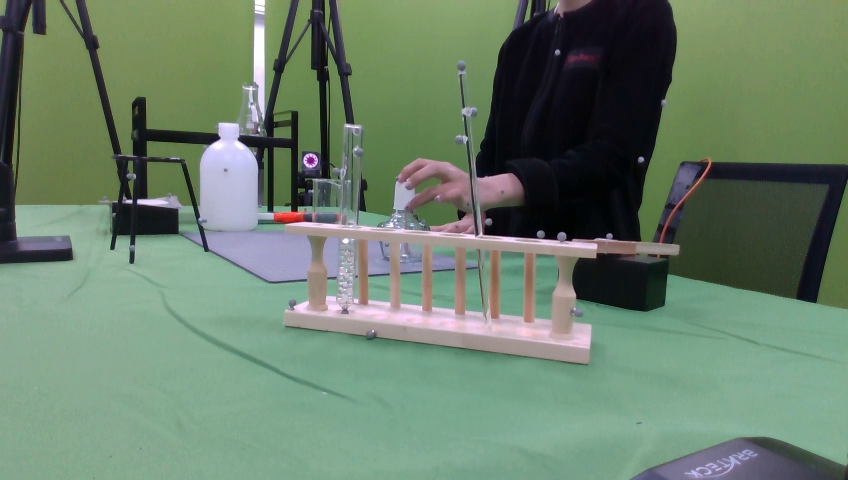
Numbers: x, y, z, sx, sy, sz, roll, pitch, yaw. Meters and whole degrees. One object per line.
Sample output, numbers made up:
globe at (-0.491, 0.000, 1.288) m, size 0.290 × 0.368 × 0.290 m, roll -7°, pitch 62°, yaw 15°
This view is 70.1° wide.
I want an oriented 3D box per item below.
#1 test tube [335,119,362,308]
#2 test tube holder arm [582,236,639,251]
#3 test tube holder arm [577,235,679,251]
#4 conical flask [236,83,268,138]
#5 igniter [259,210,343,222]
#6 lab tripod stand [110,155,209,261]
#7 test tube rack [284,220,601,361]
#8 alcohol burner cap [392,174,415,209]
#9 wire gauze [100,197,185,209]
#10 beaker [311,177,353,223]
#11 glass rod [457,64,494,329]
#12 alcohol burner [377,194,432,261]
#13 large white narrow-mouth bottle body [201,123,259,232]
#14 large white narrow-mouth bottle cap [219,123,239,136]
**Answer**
test tube at (-0.060, -0.019, 0.475) m, size 0.017 × 0.150 × 0.017 m, roll 4°, pitch 11°, yaw 0°
test tube holder arm at (0.194, 0.004, 0.629) m, size 0.088 × 0.015 × 0.010 m, roll 2°, pitch 13°, yaw -38°
test tube holder arm at (0.227, 0.004, 0.661) m, size 0.179 × 0.015 × 0.013 m, roll 1°, pitch 13°, yaw -39°
conical flask at (-0.400, -0.298, 1.396) m, size 0.075 × 0.122 × 0.075 m, roll 2°, pitch 8°, yaw 0°
igniter at (-0.303, -0.049, 1.258) m, size 0.278 × 0.025 × 0.057 m, roll -2°, pitch -2°, yaw -28°
lab tripod stand at (-0.361, -0.046, 0.806) m, size 0.148 × 0.131 × 0.148 m, roll 2°, pitch 5°, yaw 0°
test tube rack at (0.013, 0.032, 0.482) m, size 0.242 × 0.085 × 0.067 m, roll 4°, pitch 7°, yaw 16°
alcohol burner cap at (-0.027, -0.068, 0.835) m, size 0.034 × 0.048 × 0.034 m, roll 5°, pitch 11°, yaw -1°
wire gauze at (-0.469, -0.062, 1.008) m, size 0.126 × 0.011 × 0.121 m, roll -2°, pitch 8°, yaw -25°
beaker at (-0.167, -0.064, 1.106) m, size 0.074 × 0.100 × 0.083 m, roll -2°, pitch 9°, yaw -26°
glass rod at (0.039, -0.029, 0.449) m, size 0.008 × 0.199 × 0.008 m, roll -7°, pitch 9°, yaw 1°
alcohol burner at (-0.027, -0.031, 0.838) m, size 0.078 × 0.119 × 0.078 m, roll 0°, pitch 6°, yaw 0°
large white narrow-mouth bottle body at (-0.358, -0.116, 1.116) m, size 0.102 × 0.194 × 0.102 m, roll 2°, pitch 8°, yaw 0°
large white narrow-mouth bottle cap at (-0.356, -0.201, 1.104) m, size 0.038 × 0.024 × 0.037 m, roll 2°, pitch 8°, yaw 0°
